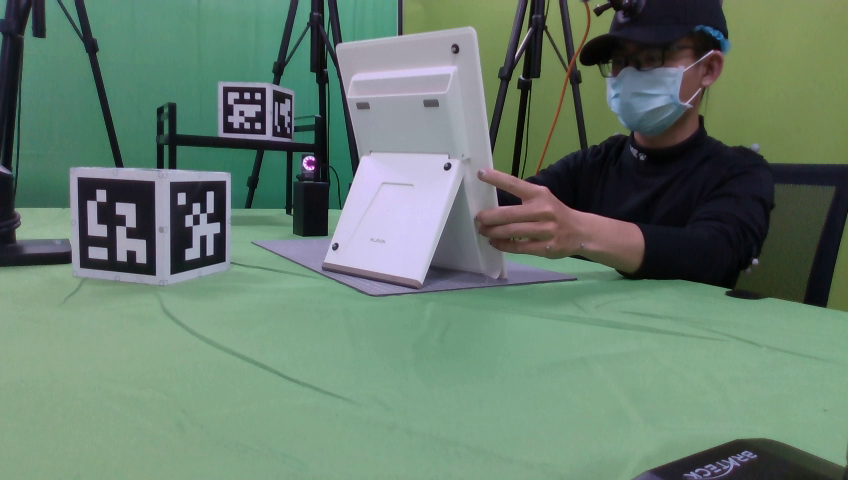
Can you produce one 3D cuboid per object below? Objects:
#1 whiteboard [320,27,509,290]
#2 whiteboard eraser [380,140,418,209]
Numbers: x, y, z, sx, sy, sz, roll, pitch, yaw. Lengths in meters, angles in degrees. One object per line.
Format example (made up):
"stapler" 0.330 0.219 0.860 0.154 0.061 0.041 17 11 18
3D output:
"whiteboard" -0.046 -0.076 0.721 0.216 0.305 0.144 9 29 39
"whiteboard eraser" -0.033 -0.087 0.812 0.041 0.101 0.019 33 41 21
